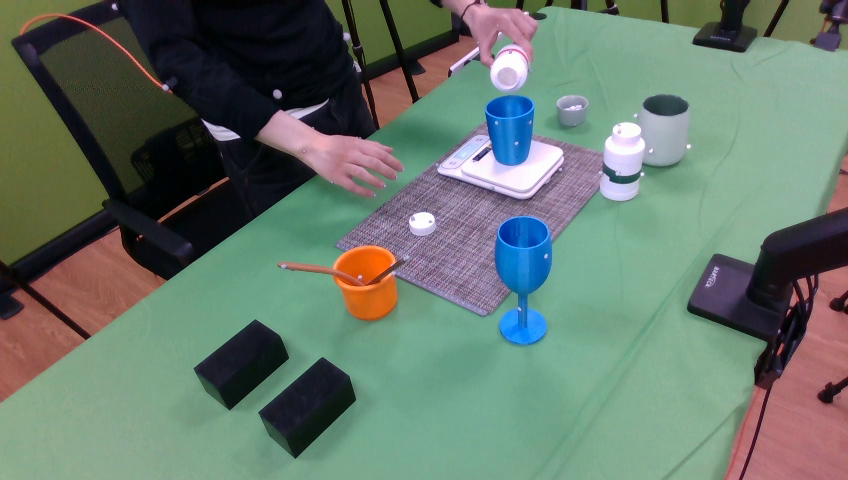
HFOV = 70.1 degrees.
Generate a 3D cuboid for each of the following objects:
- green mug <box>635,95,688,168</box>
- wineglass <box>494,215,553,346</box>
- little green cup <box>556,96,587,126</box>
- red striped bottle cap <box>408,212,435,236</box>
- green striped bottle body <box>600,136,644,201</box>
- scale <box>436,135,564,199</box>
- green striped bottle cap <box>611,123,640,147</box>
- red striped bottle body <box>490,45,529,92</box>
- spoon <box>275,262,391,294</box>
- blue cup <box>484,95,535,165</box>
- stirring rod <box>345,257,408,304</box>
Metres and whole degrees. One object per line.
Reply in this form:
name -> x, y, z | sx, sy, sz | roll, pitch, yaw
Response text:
green mug -> 0.421, -0.201, 1.081 | 0.092, 0.105, 0.125 | 5, 42, 15
wineglass -> 0.127, 0.055, 0.770 | 0.074, 0.173, 0.073 | -4, 40, 4
little green cup -> 0.295, -0.258, 1.214 | 0.061, 0.039, 0.061 | -4, 41, 4
red striped bottle cap -> -0.005, -0.027, 0.999 | 0.044, 0.018, 0.044 | -4, 42, 4
green striped bottle body -> 0.326, -0.128, 0.997 | 0.063, 0.120, 0.063 | -4, 41, 4
scale -> 0.137, -0.142, 1.101 | 0.199, 0.032, 0.149 | 22, 48, 30
green striped bottle cap -> 0.322, -0.168, 0.963 | 0.044, 0.020, 0.044 | -3, 41, 3
red striped bottle body -> 0.149, -0.298, 1.055 | 0.063, 0.063, 0.119 | 2, 29, 11
spoon -> -0.120, 0.050, 0.830 | 0.041, 0.195, 0.021 | 31, 97, 45
blue cup -> 0.151, -0.188, 1.053 | 0.092, 0.100, 0.092 | -6, 39, 5
stirring rod -> -0.067, 0.057, 0.815 | 0.014, 0.175, 0.006 | -24, 82, -38
